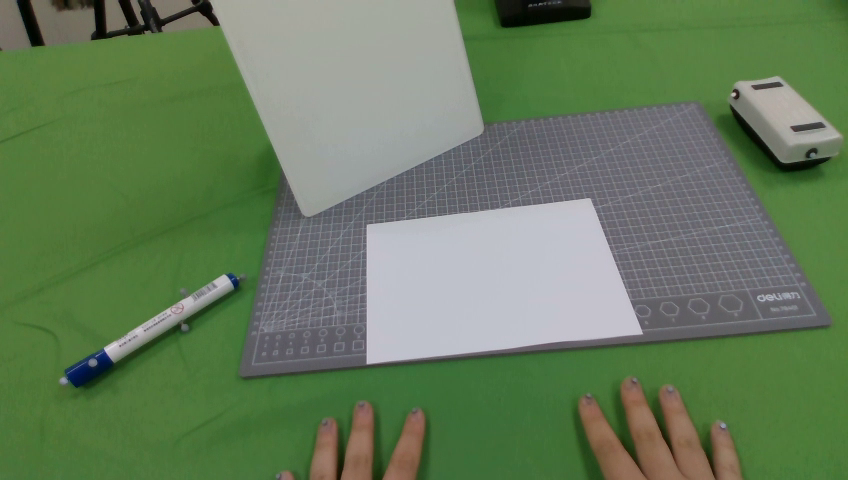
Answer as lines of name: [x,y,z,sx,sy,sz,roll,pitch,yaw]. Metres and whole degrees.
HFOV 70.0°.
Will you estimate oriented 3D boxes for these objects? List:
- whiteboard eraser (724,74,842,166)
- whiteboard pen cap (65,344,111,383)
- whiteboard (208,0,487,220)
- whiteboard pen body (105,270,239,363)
whiteboard eraser: [0.345,-0.117,0.590,0.055,0.042,0.111,-11,47,-1]
whiteboard pen cap: [-0.259,0.095,0.472,0.033,0.018,0.018,-35,52,-26]
whiteboard: [-0.097,-0.215,0.597,0.217,0.308,0.142,-28,29,-18]
whiteboard pen body: [-0.215,0.067,0.497,0.141,0.017,0.017,-35,52,-26]
